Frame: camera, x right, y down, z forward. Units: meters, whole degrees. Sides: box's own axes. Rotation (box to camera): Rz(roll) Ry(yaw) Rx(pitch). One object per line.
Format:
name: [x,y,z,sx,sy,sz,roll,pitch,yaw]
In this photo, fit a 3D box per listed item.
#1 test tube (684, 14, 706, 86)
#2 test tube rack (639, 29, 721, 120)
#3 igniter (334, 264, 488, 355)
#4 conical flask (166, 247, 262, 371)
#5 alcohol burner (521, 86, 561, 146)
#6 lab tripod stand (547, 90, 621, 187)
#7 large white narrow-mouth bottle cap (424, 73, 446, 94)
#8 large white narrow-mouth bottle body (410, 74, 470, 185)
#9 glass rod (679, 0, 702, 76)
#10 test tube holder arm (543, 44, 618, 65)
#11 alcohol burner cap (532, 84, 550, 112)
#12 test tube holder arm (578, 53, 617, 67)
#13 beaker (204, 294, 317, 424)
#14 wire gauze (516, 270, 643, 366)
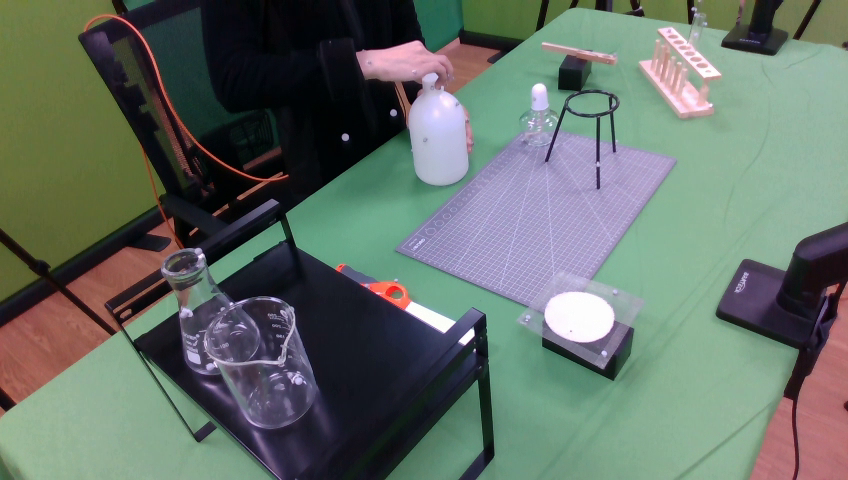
test tube: [0.540,-0.378,1.215,0.017,0.151,0.017,-2,44,3]
test tube rack: [0.527,-0.351,1.262,0.067,0.085,0.241,-8,40,1]
igniter: [-0.030,0.095,0.871,0.274,0.025,0.057,22,59,31]
conical flask: [-0.209,0.064,0.584,0.075,0.122,0.075,-5,40,4]
alcohol burner: [0.223,-0.241,1.155,0.078,0.119,0.077,-5,43,5]
lab tripod stand: [0.288,-0.184,1.062,0.148,0.132,0.147,-6,41,6]
large white narrow-mouth bottle cap: [0.019,-0.266,1.026,0.038,0.024,0.037,-4,40,4]
large white narrow-mouth bottle body: [0.027,-0.201,1.082,0.102,0.195,0.101,-4,40,4]
glass rod: [0.542,-0.417,1.233,0.008,0.200,0.008,1,39,0]
test tube holder arm: [0.344,-0.412,1.340,0.177,0.015,0.013,25,51,31]
alcohol burner cap: [0.218,-0.268,1.133,0.034,0.048,0.033,-8,36,7]
test tube holder arm: [0.376,-0.393,1.314,0.087,0.015,0.010,25,51,32]
beaker: [-0.137,0.110,0.536,0.083,0.101,0.074,30,53,36]
wire gauze: [0.200,0.093,0.777,0.124,0.011,0.122,23,49,32]
